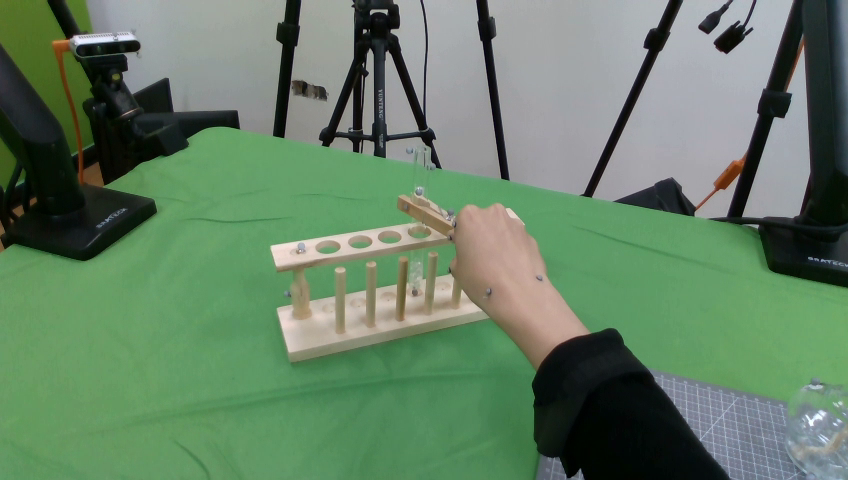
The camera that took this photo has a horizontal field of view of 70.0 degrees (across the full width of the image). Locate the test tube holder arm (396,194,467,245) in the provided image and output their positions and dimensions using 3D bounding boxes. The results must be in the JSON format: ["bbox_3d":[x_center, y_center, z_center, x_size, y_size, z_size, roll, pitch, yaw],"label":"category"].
[{"bbox_3d":[0.008,-0.019,0.547,0.087,0.015,0.010,29,40,35],"label":"test tube holder arm"}]

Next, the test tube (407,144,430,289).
[{"bbox_3d":[-0.006,-0.018,0.571,0.017,0.151,0.017,3,29,-1],"label":"test tube"}]

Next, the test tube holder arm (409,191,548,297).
[{"bbox_3d":[0.041,-0.002,0.522,0.013,0.015,0.176,-21,40,-32],"label":"test tube holder arm"}]

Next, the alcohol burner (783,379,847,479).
[{"bbox_3d":[0.317,0.124,0.448,0.078,0.120,0.077,3,36,-2],"label":"alcohol burner"}]

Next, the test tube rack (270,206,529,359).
[{"bbox_3d":[-0.016,0.036,0.580,0.243,0.086,0.066,-10,36,-19],"label":"test tube rack"}]

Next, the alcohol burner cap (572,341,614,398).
[{"bbox_3d":[0.148,0.108,0.521,0.034,0.048,0.033,3,35,-2],"label":"alcohol burner cap"}]
